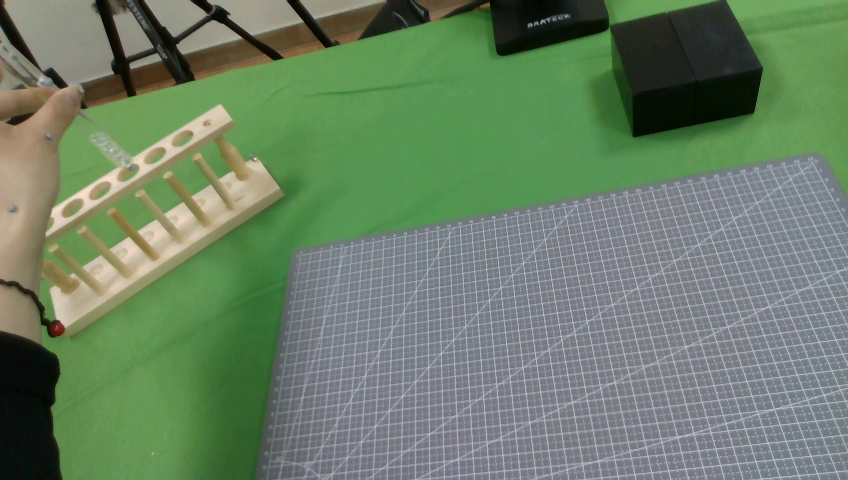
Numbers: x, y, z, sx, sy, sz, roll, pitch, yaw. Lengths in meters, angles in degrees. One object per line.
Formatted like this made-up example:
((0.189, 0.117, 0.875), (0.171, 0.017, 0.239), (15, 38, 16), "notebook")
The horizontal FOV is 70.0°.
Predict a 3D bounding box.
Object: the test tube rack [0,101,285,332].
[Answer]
((-0.266, -0.023, 0.582), (0.242, 0.086, 0.066), (-35, 51, -9), "test tube rack")

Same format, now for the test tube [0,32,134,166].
((-0.277, -0.103, 0.473), (0.017, 0.151, 0.017), (-5, 63, 10), "test tube")
